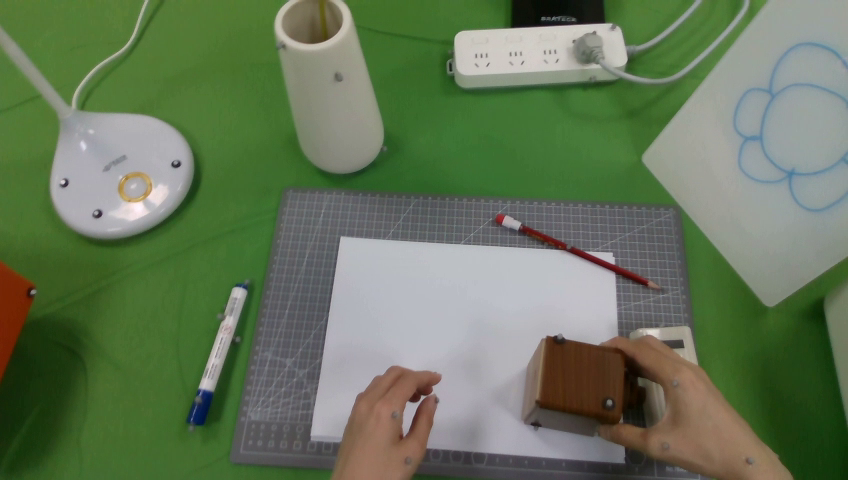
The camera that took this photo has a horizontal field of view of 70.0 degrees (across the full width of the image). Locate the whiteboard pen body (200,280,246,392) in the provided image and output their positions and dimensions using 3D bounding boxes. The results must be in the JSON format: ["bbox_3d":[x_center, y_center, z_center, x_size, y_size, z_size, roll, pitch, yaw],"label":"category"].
[{"bbox_3d":[-0.206,0.105,0.612,0.017,0.017,0.139,7,62,5],"label":"whiteboard pen body"}]

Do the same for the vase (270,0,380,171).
[{"bbox_3d":[-0.103,-0.157,0.633,0.098,0.201,0.097,-1,65,2],"label":"vase"}]

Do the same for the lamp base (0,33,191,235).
[{"bbox_3d":[-0.360,-0.118,0.629,0.178,0.181,0.160,34,70,18],"label":"lamp base"}]

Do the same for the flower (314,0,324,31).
[{"bbox_3d":[-0.097,-0.207,0.566,0.038,0.365,0.043,-9,47,-10],"label":"flower"}]

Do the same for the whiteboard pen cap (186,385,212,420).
[{"bbox_3d":[-0.216,0.156,0.585,0.018,0.018,0.033,8,60,5],"label":"whiteboard pen cap"}]

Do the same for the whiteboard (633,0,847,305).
[{"bbox_3d":[0.394,-0.117,0.582,0.144,0.307,0.215,-19,64,-28],"label":"whiteboard"}]

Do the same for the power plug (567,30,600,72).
[{"bbox_3d":[0.188,-0.217,0.721,0.035,0.053,0.072,7,67,5],"label":"power plug"}]

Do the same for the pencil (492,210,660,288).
[{"bbox_3d":[0.163,0.010,0.655,0.193,0.012,0.012,25,68,10],"label":"pencil"}]

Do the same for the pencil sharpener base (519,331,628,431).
[{"bbox_3d":[0.132,0.131,0.546,0.076,0.108,0.061,9,66,5],"label":"pencil sharpener base"}]

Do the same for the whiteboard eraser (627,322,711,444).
[{"bbox_3d":[0.231,0.135,0.579,0.055,0.042,0.112,-2,65,-2],"label":"whiteboard eraser"}]

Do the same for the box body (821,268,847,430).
[{"bbox_3d":[0.514,0.173,0.493,0.254,0.161,0.361,2,66,2],"label":"box body"}]

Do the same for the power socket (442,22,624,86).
[{"bbox_3d":[0.136,-0.231,0.754,0.227,0.033,0.071,-2,66,-1],"label":"power socket"}]

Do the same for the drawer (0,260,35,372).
[{"bbox_3d":[-0.495,0.105,0.537,0.212,0.074,0.193,5,67,3],"label":"drawer"}]

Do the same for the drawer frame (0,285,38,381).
[{"bbox_3d":[-0.501,0.107,0.538,0.213,0.083,0.200,6,66,1],"label":"drawer frame"}]

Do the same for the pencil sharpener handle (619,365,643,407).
[{"bbox_3d":[0.183,0.130,0.532,0.030,0.068,0.036,9,79,5],"label":"pencil sharpener handle"}]
